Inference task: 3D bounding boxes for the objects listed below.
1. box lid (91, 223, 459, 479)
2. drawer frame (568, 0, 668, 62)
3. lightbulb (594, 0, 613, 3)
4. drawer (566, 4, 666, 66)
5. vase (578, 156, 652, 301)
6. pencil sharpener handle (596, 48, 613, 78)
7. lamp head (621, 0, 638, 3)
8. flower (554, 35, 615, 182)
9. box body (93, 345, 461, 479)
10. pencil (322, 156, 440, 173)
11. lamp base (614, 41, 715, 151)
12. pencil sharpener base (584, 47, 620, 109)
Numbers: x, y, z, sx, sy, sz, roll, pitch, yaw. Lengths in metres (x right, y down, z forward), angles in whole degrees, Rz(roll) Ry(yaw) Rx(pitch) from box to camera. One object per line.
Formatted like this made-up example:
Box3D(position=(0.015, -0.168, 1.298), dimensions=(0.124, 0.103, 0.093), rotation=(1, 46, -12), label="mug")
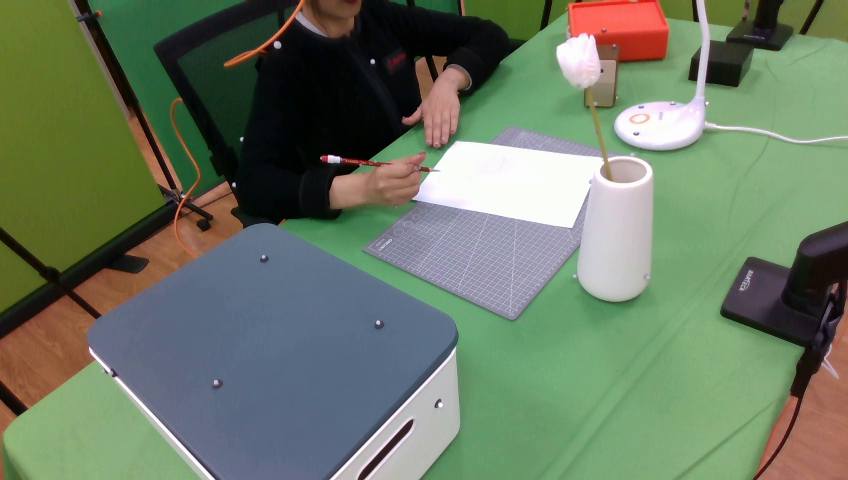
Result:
Box3D(position=(-0.174, 0.103, 0.667), dimensions=(0.368, 0.015, 0.264), rotation=(24, 48, 35), label="box lid")
Box3D(position=(0.450, -0.496, 1.441), dimensions=(0.213, 0.083, 0.201), rotation=(-1, 40, 9), label="drawer frame")
Box3D(position=(0.305, -0.438, 0.978), dimensions=(0.060, 0.107, 0.059), rotation=(13, 43, -11), label="lightbulb")
Box3D(position=(0.447, -0.493, 1.441), dimensions=(0.211, 0.073, 0.194), rotation=(0, 40, 10), label="drawer")
Box3D(position=(0.261, -0.011, 0.812), dimensions=(0.098, 0.201, 0.097), rotation=(-5, 40, 4), label="vase")
Box3D(position=(0.382, -0.378, 1.276), dimensions=(0.036, 0.068, 0.030), rotation=(4, 41, 21), label="pencil sharpener handle")
Box3D(position=(0.319, -0.453, 0.962), dimensions=(0.113, 0.123, 0.112), rotation=(20, 33, -13), label="lamp head")
Box3D(position=(0.237, -0.083, 0.774), dimensions=(0.044, 0.363, 0.038), rotation=(-22, 26, 7), label="flower")
Box3D(position=(-0.162, 0.170, 0.708), dimensions=(0.361, 0.161, 0.255), rotation=(25, 50, 34), label="box body")
Box3D(position=(-0.070, -0.122, 0.990), dimensions=(0.195, 0.012, 0.012), rotation=(5, 39, -10), label="pencil")
Box3D(position=(0.449, -0.277, 1.106), dimensions=(0.179, 0.181, 0.160), rotation=(1, 41, 9), label="lamp base")
Box3D(position=(0.368, -0.336, 1.248), dimensions=(0.061, 0.107, 0.076), rotation=(6, 42, 19), label="pencil sharpener base")
